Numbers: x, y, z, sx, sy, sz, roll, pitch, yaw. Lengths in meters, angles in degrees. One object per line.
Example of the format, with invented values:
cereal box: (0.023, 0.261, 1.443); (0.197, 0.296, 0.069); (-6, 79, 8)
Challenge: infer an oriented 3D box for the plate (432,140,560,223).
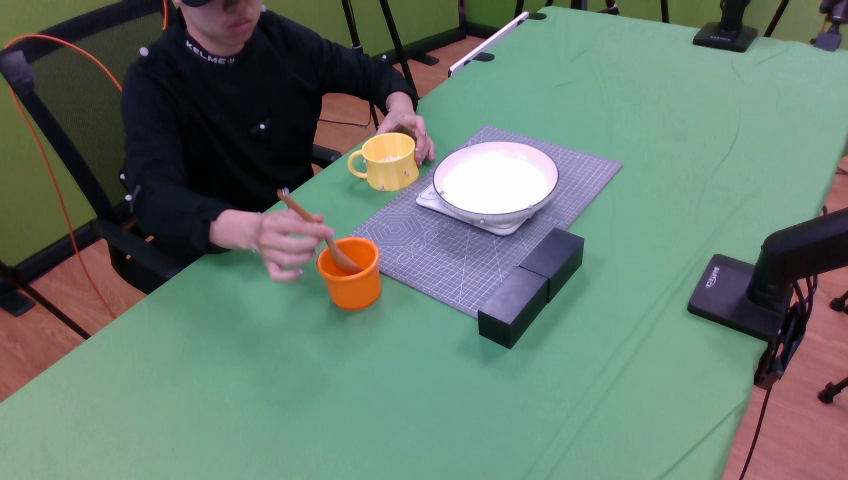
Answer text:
plate: (0.118, -0.094, 0.999); (0.209, 0.038, 0.208); (-4, 41, 4)

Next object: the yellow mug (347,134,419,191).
yellow mug: (-0.078, -0.142, 1.115); (0.131, 0.064, 0.099); (-6, 39, 3)

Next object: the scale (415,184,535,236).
scale: (0.099, -0.080, 1.035); (0.199, 0.032, 0.149); (23, 48, 31)

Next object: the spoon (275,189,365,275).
spoon: (-0.138, -0.006, 0.809); (0.041, 0.195, 0.021); (3, 53, 35)
